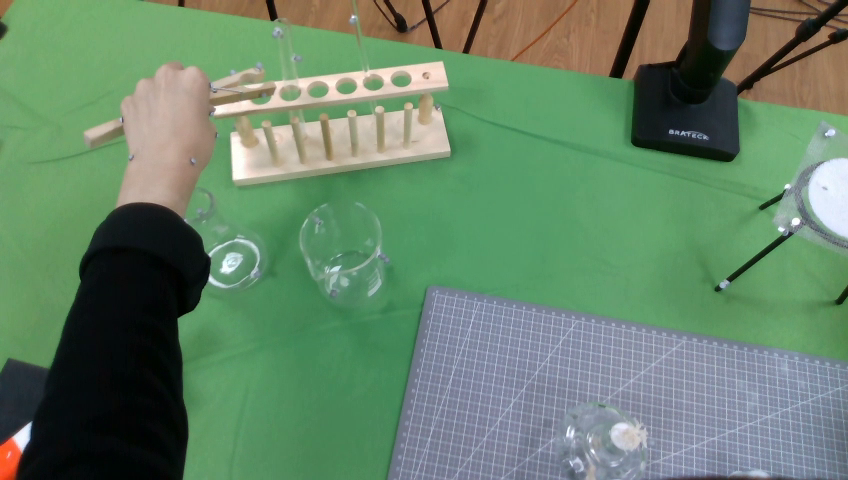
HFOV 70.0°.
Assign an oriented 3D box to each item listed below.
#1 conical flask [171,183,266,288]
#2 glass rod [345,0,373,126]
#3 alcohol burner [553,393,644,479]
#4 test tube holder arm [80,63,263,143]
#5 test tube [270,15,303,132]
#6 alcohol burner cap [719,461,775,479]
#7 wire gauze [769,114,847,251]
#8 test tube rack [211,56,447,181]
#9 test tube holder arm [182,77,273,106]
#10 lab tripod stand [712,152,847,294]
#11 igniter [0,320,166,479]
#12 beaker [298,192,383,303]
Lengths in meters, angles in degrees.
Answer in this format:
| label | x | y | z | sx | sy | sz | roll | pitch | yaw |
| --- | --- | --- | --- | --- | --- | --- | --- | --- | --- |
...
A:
| label | x | y | z | sx | sy | sz | roll | pitch | yaw |
| --- | --- | --- | --- | --- | --- | --- | --- | --- | --- |
| conical flask | -0.201 | -0.009 | 0.579 | 0.075 | 0.123 | 0.074 | 0 | 64 | 0 |
| glass rod | -0.066 | -0.187 | 0.615 | 0.008 | 0.201 | 0.008 | -2 | 57 | 4 |
| alcohol burner | 0.151 | 0.163 | 0.506 | 0.078 | 0.120 | 0.077 | 1 | 63 | -3 |
| test tube holder arm | -0.212 | -0.122 | 0.526 | 0.013 | 0.015 | 0.178 | 48 | 49 | 5 |
| test tube | -0.138 | -0.164 | 0.620 | 0.017 | 0.151 | 0.017 | 2 | 58 | -3 |
| alcohol burner cap | 0.284 | 0.207 | 0.528 | 0.034 | 0.048 | 0.033 | 1 | 65 | -1 |
| wire gauze | 0.379 | -0.040 | 0.526 | 0.121 | 0.011 | 0.124 | 30 | 68 | 11 |
| test tube rack | -0.097 | -0.131 | 0.661 | 0.243 | 0.086 | 0.066 | -9 | 64 | -6 |
| test tube holder arm | -0.179 | -0.136 | 0.554 | 0.088 | 0.015 | 0.010 | -21 | 73 | -38 |
| lab tripod stand | 0.371 | -0.010 | 0.587 | 0.148 | 0.132 | 0.147 | 1 | 63 | -2 |
| igniter | -0.333 | 0.171 | 0.490 | 0.057 | 0.025 | 0.276 | 36 | 68 | 25 |
| beaker | -0.078 | 0.015 | 0.584 | 0.074 | 0.101 | 0.083 | 24 | 67 | 11 |
